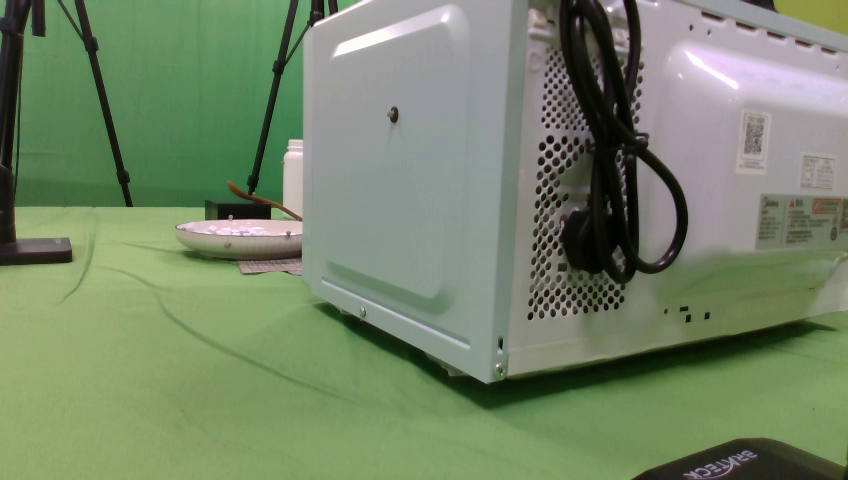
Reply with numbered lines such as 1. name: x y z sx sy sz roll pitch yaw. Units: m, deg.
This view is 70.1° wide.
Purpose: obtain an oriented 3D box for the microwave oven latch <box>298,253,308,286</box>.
1. microwave oven latch: -0.081 0.027 0.582 0.079 0.029 0.030 -1 7 -32

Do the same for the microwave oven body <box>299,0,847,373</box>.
1. microwave oven body: 0.151 -0.055 0.542 0.444 0.260 0.324 -2 7 -33

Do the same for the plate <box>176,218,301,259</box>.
1. plate: -0.248 -0.003 0.877 0.209 0.038 0.209 1 8 0

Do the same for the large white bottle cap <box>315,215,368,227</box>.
1. large white bottle cap: -0.177 -0.041 1.309 0.115 0.018 0.115 2 6 0

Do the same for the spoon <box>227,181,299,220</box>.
1. spoon: -0.315 -0.074 1.235 0.195 0.021 0.041 24 -10 -37

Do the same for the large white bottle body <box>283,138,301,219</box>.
1. large white bottle body: -0.265 -0.144 1.423 0.131 0.184 0.130 2 7 0

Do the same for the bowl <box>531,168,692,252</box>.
1. bowl: 0.180 -0.030 0.596 0.151 0.077 0.151 1 6 0

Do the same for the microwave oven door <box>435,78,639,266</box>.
1. microwave oven door: 0.146 -0.106 0.906 0.039 0.243 0.354 -4 10 -40
